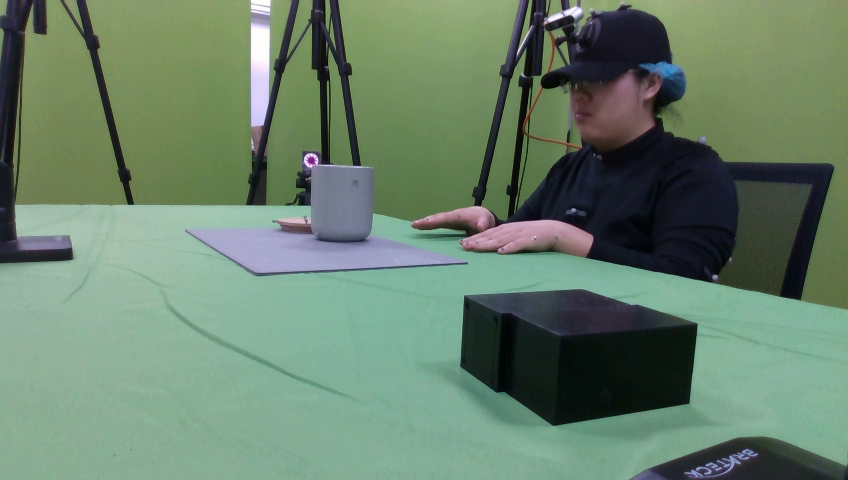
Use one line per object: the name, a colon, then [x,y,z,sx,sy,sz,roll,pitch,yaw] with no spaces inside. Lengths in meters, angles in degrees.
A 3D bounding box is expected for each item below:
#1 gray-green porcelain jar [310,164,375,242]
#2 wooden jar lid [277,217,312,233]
gray-green porcelain jar: [-0.139,-0.064,1.025,0.106,0.126,0.106,3,8,0]
wooden jar lid: [-0.221,-0.028,1.138,0.108,0.020,0.108,2,8,0]
